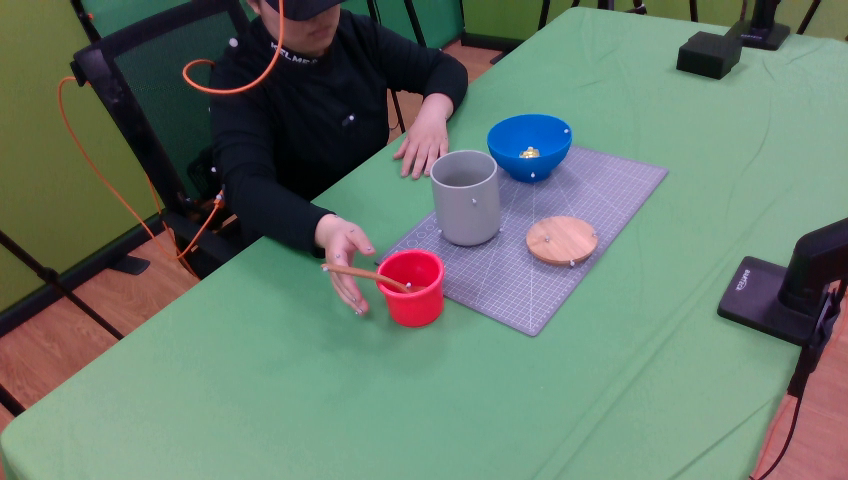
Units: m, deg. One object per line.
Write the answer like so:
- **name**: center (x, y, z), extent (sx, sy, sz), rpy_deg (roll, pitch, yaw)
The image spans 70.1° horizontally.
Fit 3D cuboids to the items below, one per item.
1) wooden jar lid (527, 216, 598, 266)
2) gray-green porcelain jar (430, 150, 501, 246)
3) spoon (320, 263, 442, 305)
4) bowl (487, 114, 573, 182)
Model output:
- **wooden jar lid**: center (0.214, 0.003, 0.937), extent (0.108, 0.021, 0.108), rpy_deg (-4, 40, 4)
- **gray-green porcelain jar**: center (0.069, -0.062, 0.959), extent (0.106, 0.127, 0.105), rpy_deg (-5, 40, 5)
- **spoon**: center (-0.055, 0.057, 0.831), extent (0.195, 0.021, 0.041), rpy_deg (22, 26, -34)
- **bowl**: center (0.190, -0.156, 1.085), extent (0.151, 0.077, 0.150), rpy_deg (-5, 40, 5)
